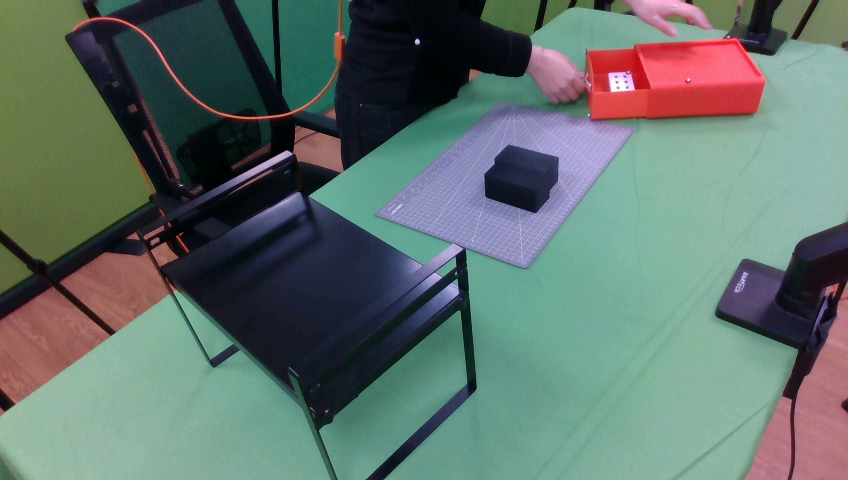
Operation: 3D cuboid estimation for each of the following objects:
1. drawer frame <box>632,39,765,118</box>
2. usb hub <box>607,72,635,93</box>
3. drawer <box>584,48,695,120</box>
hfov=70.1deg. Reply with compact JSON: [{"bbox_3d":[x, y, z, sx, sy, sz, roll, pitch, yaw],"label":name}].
[{"bbox_3d":[0.544,-0.332,1.233,0.213,0.083,0.201,-1,41,6],"label":"drawer frame"},{"bbox_3d":[0.413,-0.311,1.262,0.049,0.025,0.124,3,43,8],"label":"usb hub"},{"bbox_3d":[0.442,-0.328,1.249,0.211,0.073,0.194,1,41,8],"label":"drawer"}]
